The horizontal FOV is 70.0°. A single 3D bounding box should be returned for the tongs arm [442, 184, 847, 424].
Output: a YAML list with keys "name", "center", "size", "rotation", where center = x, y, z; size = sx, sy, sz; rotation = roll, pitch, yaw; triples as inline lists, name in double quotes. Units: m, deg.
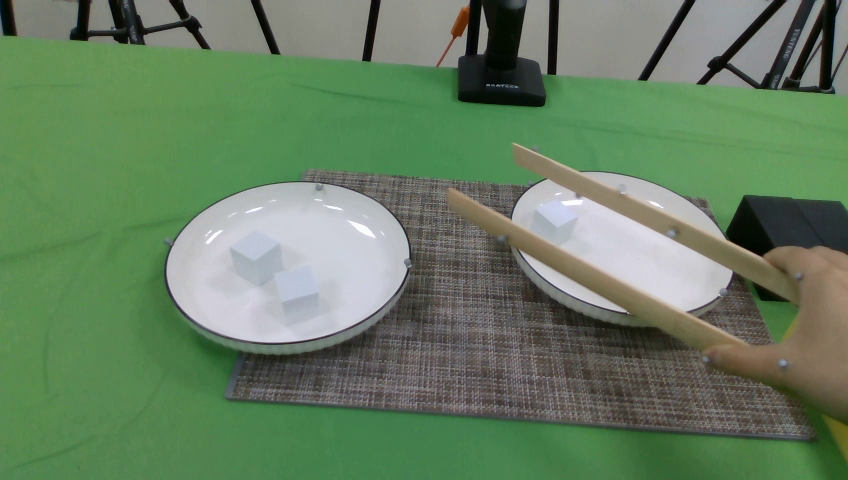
- name: "tongs arm"
  center: [0.158, 0.039, 0.422]
  size: [0.384, 0.028, 0.028]
  rotation: [30, 52, 33]

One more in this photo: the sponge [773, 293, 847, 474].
- name: "sponge"
  center: [0.370, 0.135, 0.449]
  size: [0.118, 0.061, 0.204]
  rotation: [1, 43, -4]

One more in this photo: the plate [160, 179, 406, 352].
- name: "plate"
  center: [-0.120, 0.021, 0.538]
  size: [0.209, 0.038, 0.207]
  rotation: [3, 42, -2]

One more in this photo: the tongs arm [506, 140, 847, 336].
- name: "tongs arm"
  center: [0.193, 0.013, 0.442]
  size: [0.051, 0.027, 0.381]
  rotation: [-37, 50, -27]

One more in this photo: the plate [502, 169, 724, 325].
- name: "plate"
  center: [0.176, 0.006, 0.584]
  size: [0.208, 0.039, 0.205]
  rotation: [3, 42, -2]
